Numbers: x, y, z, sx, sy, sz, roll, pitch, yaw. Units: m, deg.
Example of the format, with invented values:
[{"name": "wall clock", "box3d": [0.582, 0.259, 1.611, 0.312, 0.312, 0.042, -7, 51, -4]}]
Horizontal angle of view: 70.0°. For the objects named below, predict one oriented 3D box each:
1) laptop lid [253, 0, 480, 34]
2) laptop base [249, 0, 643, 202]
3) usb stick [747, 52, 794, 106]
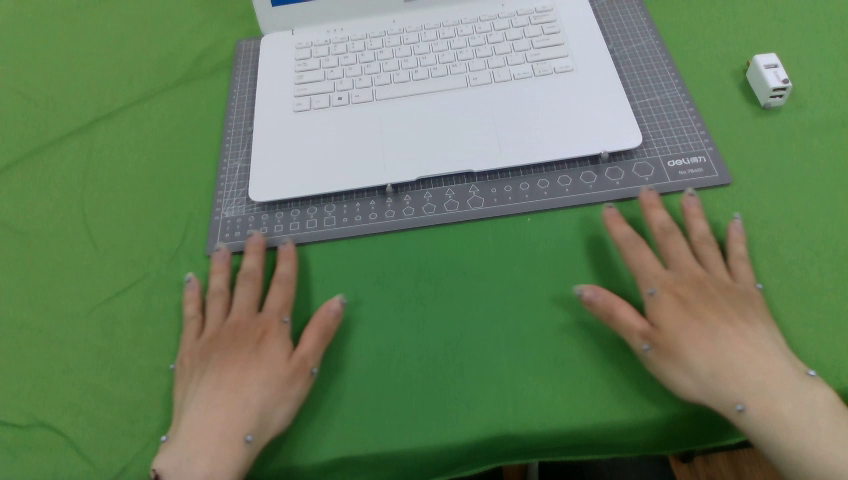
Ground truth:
[{"name": "laptop lid", "box3d": [-0.018, -0.338, 0.593, 0.357, 0.244, 0.013, -9, 37, 3]}, {"name": "laptop base", "box3d": [0.009, -0.150, 0.599, 0.354, 0.023, 0.233, -8, 58, 2]}, {"name": "usb stick", "box3d": [0.316, -0.153, 0.558, 0.021, 0.027, 0.058, -6, 52, 5]}]
